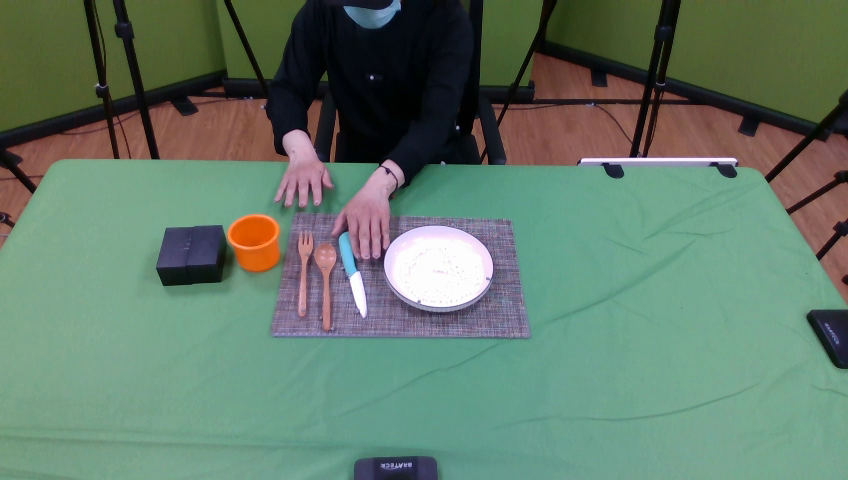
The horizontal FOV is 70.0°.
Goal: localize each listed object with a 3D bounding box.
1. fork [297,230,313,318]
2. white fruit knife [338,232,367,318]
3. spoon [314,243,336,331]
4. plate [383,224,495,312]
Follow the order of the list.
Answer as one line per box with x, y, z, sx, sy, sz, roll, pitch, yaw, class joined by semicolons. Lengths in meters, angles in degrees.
-0.223;0.058;1.121;0.028;0.019;0.206;4;43;-11;fork
-0.132;0.062;1.125;0.027;0.016;0.206;-17;49;-4;white fruit knife
-0.179;0.082;1.098;0.042;0.022;0.192;8;44;-17;spoon
0.026;0.055;1.128;0.209;0.038;0.208;2;46;-2;plate
